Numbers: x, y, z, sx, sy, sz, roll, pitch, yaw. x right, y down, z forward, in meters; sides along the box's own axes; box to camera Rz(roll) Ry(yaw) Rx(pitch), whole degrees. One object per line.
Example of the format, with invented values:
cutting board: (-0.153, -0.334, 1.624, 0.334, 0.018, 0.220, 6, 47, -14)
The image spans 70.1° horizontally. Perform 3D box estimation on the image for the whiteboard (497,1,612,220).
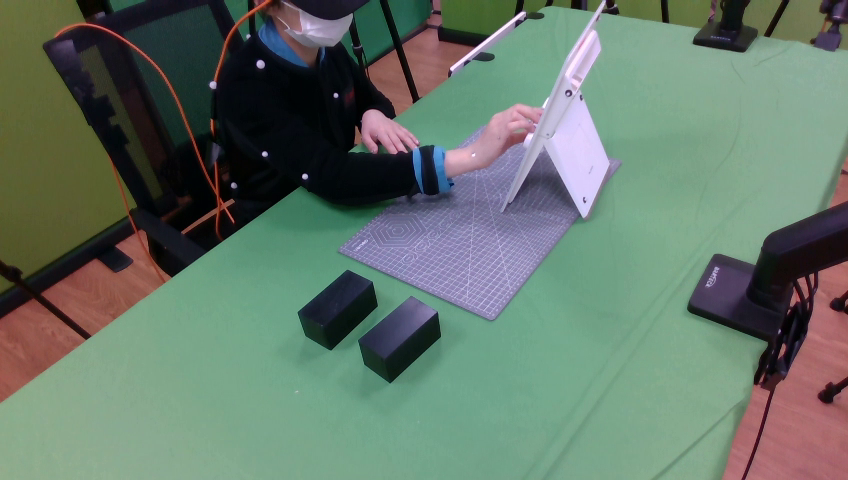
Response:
whiteboard: (0.260, -0.177, 0.963, 0.143, 0.306, 0.217, 28, 48, 9)

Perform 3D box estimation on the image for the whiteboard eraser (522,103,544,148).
whiteboard eraser: (0.190, -0.193, 1.007, 0.019, 0.041, 0.101, 28, 71, 10)
